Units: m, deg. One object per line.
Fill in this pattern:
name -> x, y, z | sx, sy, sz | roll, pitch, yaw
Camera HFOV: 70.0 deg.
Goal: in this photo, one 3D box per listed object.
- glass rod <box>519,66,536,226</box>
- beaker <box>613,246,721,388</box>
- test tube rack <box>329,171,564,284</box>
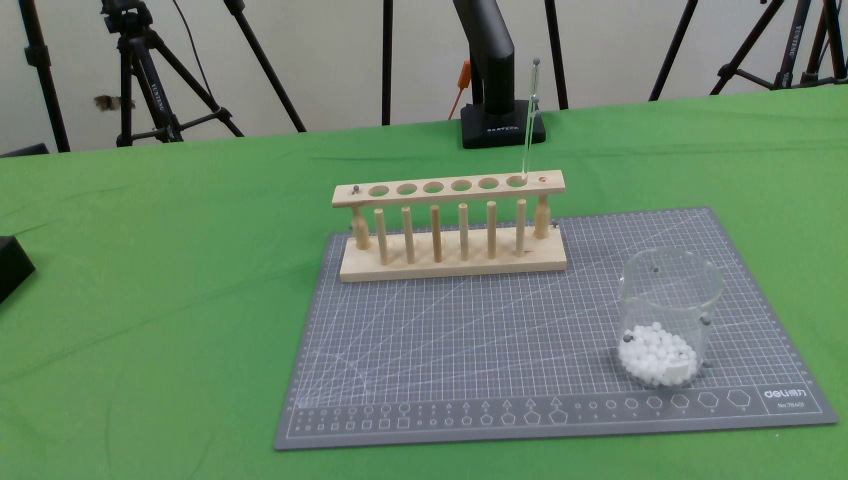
glass rod -> 0.102, -0.079, 0.611 | 0.008, 0.201, 0.008 | -1, 38, 1
beaker -> 0.194, 0.068, 0.502 | 0.084, 0.101, 0.073 | -16, 38, -9
test tube rack -> 0.024, -0.013, 0.648 | 0.242, 0.086, 0.066 | -4, 38, 5
